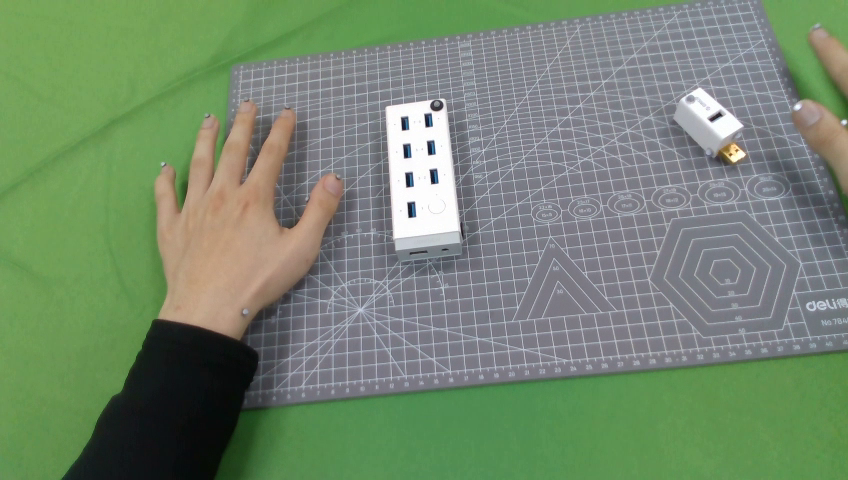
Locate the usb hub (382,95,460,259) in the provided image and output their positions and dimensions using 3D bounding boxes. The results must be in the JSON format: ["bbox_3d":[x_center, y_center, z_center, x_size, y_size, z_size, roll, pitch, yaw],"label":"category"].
[{"bbox_3d":[-0.003,-0.049,0.452,0.049,0.025,0.124,-7,66,4],"label":"usb hub"}]

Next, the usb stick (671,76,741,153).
[{"bbox_3d":[0.202,-0.094,0.443,0.021,0.027,0.058,-8,62,-26],"label":"usb stick"}]
